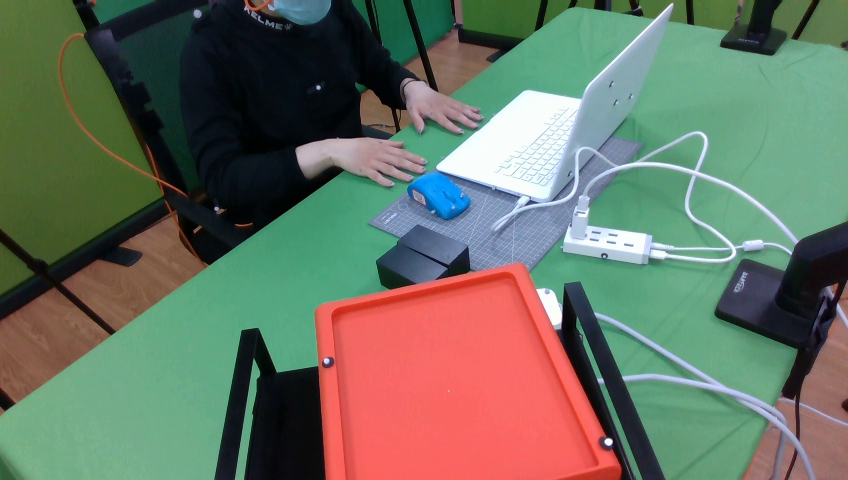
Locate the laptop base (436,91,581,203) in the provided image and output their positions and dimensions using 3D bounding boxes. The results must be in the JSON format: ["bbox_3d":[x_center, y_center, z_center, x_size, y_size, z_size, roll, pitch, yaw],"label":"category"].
[{"bbox_3d":[0.214,-0.192,1.172,0.233,0.023,0.355,19,46,32],"label":"laptop base"}]

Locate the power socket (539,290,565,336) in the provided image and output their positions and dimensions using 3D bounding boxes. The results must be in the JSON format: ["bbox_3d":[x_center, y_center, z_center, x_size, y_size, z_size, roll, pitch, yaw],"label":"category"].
[{"bbox_3d":[0.081,0.112,0.822,0.227,0.033,0.072,-6,41,0],"label":"power socket"}]

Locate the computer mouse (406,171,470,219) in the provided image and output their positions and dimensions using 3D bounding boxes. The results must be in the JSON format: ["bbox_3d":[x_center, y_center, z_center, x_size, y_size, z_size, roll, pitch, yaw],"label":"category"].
[{"bbox_3d":[0.024,-0.082,1.049,0.063,0.041,0.116,-30,50,-27],"label":"computer mouse"}]

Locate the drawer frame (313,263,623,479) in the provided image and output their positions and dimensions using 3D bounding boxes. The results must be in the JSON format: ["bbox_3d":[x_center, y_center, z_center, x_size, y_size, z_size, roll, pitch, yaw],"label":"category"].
[{"bbox_3d":[0.021,0.130,0.493,0.202,0.083,0.212,-11,41,-6],"label":"drawer frame"}]

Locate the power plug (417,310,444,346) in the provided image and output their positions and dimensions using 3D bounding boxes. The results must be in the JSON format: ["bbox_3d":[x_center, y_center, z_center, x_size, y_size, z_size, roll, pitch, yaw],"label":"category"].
[{"bbox_3d":[0.007,0.123,0.786,0.035,0.053,0.072,1,39,7],"label":"power plug"}]

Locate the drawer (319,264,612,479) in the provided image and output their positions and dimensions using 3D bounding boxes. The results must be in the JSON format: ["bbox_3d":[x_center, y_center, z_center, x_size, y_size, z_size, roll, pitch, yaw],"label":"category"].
[{"bbox_3d":[0.020,0.129,0.497,0.195,0.073,0.210,-11,41,-5],"label":"drawer"}]

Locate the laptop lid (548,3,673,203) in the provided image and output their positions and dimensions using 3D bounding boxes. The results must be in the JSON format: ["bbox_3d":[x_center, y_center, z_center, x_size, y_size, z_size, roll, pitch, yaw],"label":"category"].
[{"bbox_3d":[0.320,-0.235,1.026,0.013,0.242,0.357,31,50,20],"label":"laptop lid"}]

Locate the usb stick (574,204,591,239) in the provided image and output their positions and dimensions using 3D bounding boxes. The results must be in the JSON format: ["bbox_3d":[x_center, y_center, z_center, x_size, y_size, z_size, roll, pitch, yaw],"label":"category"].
[{"bbox_3d":[0.240,-0.023,0.914,0.021,0.059,0.027,-3,34,19],"label":"usb stick"}]

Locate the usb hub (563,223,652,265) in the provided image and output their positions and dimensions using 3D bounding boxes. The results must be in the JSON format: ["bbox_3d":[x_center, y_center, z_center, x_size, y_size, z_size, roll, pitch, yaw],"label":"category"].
[{"bbox_3d":[0.281,0.005,0.925,0.124,0.025,0.049,10,43,19],"label":"usb hub"}]
